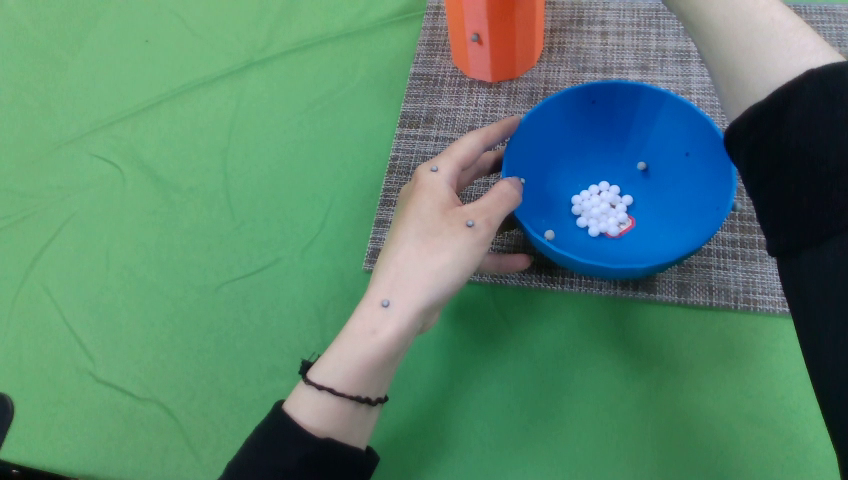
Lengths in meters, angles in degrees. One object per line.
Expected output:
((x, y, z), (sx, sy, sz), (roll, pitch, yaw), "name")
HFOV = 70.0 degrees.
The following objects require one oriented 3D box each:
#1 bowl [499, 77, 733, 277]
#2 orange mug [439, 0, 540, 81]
((0.129, -0.033, 0.433), (0.151, 0.077, 0.150), (-3, 62, 7), "bowl")
((0.063, -0.220, 0.529), (0.083, 0.101, 0.125), (16, 71, 17), "orange mug")
